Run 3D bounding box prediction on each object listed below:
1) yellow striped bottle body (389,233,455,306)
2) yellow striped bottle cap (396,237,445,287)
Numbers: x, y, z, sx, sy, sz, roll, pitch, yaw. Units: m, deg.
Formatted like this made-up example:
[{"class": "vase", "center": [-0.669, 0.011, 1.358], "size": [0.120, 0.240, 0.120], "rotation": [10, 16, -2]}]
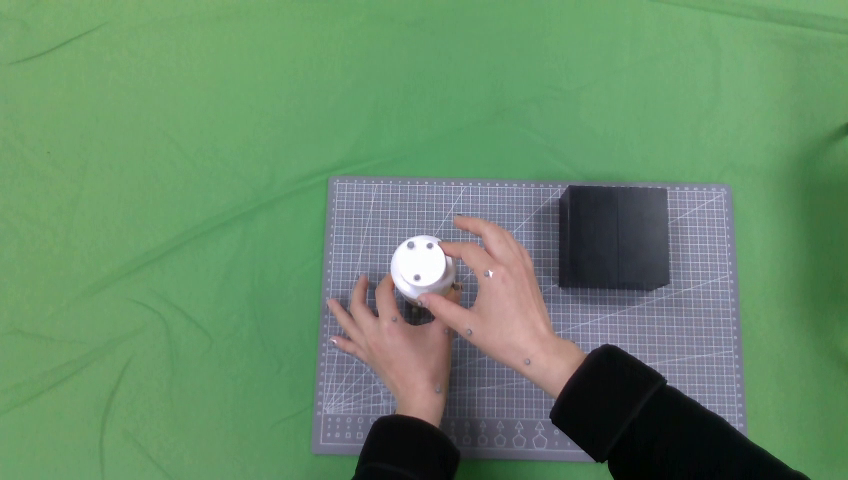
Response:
[{"class": "yellow striped bottle body", "center": [-0.001, 0.030, 0.601], "size": [0.063, 0.120, 0.062], "rotation": [0, 80, 1]}, {"class": "yellow striped bottle cap", "center": [-0.003, 0.020, 0.547], "size": [0.044, 0.019, 0.044], "rotation": [-1, 77, 3]}]
